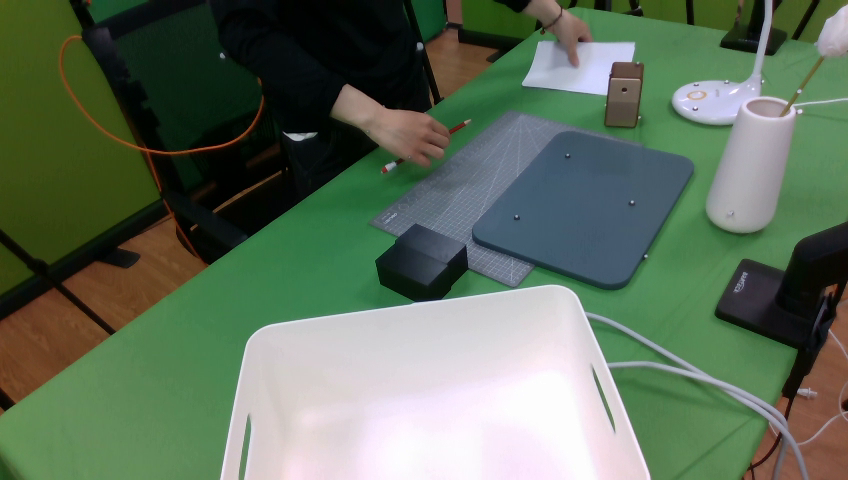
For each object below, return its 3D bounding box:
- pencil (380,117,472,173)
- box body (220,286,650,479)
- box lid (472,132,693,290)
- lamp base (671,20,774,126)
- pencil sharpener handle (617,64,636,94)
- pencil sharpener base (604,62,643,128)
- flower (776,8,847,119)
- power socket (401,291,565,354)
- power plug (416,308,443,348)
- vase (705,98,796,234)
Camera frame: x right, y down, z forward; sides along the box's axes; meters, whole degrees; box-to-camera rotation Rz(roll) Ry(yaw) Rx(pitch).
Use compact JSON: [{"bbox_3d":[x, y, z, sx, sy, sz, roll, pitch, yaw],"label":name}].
[{"bbox_3d":[0.005,-0.174,1.091,0.194,0.012,0.012,-31,44,-4],"label":"pencil"},{"bbox_3d":[0.006,0.210,0.618,0.364,0.161,0.252,-8,40,-1],"label":"box body"},{"bbox_3d":[0.273,-0.068,1.020,0.261,0.015,0.372,20,47,28],"label":"box lid"},{"bbox_3d":[0.581,-0.332,1.154,0.179,0.181,0.160,2,41,7],"label":"lamp base"},{"bbox_3d":[0.401,-0.327,1.211,0.036,0.068,0.030,16,44,8],"label":"pencil sharpener handle"},{"bbox_3d":[0.390,-0.284,1.182,0.061,0.107,0.076,7,42,17],"label":"pencil sharpener base"},{"bbox_3d":[0.476,-0.156,0.822,0.038,0.362,0.044,8,58,2],"label":"flower"},{"bbox_3d":[0.079,0.111,0.823,0.227,0.033,0.072,-5,41,1],"label":"power socket"},{"bbox_3d":[0.005,0.121,0.787,0.035,0.053,0.072,2,46,8],"label":"power plug"},{"bbox_3d":[0.480,-0.104,0.889,0.098,0.201,0.097,-4,42,4],"label":"vase"}]
